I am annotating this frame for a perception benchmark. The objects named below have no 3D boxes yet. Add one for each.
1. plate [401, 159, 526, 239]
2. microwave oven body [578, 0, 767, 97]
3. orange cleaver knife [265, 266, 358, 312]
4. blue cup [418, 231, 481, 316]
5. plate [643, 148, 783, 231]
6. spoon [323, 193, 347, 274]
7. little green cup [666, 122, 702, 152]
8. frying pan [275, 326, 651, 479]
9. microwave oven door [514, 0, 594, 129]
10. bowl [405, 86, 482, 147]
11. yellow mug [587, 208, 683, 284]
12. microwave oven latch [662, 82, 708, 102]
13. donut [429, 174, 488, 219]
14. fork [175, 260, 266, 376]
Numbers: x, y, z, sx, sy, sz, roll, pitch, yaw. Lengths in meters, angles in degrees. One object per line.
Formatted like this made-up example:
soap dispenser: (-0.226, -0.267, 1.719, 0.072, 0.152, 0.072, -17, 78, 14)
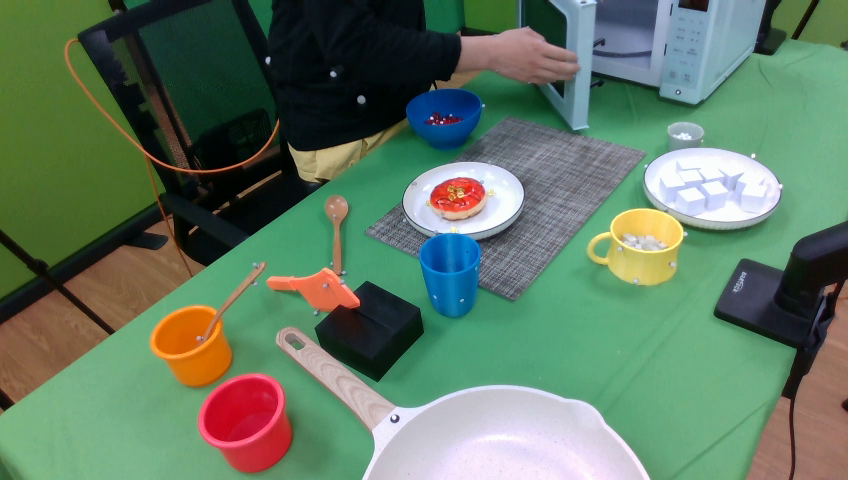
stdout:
plate: (0.067, -0.065, 1.019, 0.209, 0.038, 0.208, -4, 40, 4)
microwave oven body: (0.473, -0.516, 1.313, 0.438, 0.261, 0.327, 26, 51, 34)
orange cleaver knife: (-0.164, 0.073, 0.864, 0.210, 0.077, 0.012, -6, 31, 50)
blue cup: (0.040, 0.053, 0.843, 0.092, 0.100, 0.092, -4, 43, 4)
plate: (0.464, -0.080, 0.986, 0.207, 0.039, 0.206, -4, 41, 4)
spoon: (-0.148, -0.014, 1.008, 0.042, 0.021, 0.192, 5, 39, -13)
little green cup: (0.471, -0.184, 1.102, 0.061, 0.039, 0.061, -5, 41, 5)
frying pan: (0.003, 0.229, 0.641, 0.484, 0.103, 0.308, 34, 54, 28)
microwave oven door: (0.255, -0.416, 1.222, 0.039, 0.245, 0.353, -12, 41, -6)
bowl: (0.041, -0.236, 1.197, 0.151, 0.077, 0.150, -4, 40, 4)
yellow mug: (0.305, 0.009, 0.884, 0.131, 0.064, 0.099, -4, 41, 5)
microwave oven latch: (0.518, -0.298, 1.202, 0.078, 0.029, 0.030, 29, 53, 36)
donut: (0.058, -0.075, 1.015, 0.099, 0.048, 0.098, -6, 38, 5)
fork: (-0.268, 0.103, 0.792, 0.207, 0.019, 0.028, -51, 41, 16)
